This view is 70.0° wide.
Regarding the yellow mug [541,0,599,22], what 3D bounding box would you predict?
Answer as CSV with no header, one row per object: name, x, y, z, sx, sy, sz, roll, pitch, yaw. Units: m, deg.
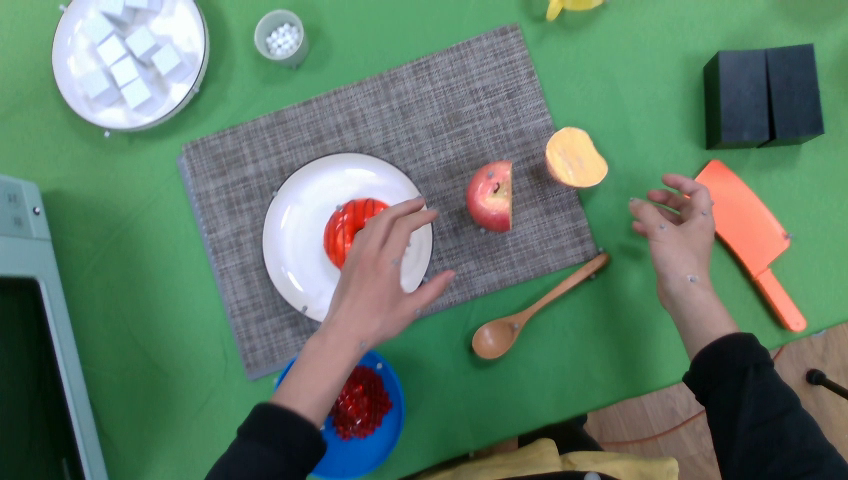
yellow mug,0.171,-0.316,0.707,0.100,0.064,0.131,28,91,7

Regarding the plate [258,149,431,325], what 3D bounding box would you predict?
plate,-0.093,-0.003,0.727,0.209,0.038,0.208,0,87,6

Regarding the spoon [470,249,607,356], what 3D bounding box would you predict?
spoon,0.136,0.071,0.710,0.194,0.022,0.041,-37,68,3

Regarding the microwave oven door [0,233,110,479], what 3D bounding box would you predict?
microwave oven door,-0.453,0.161,0.638,0.039,0.244,0.355,-18,84,5

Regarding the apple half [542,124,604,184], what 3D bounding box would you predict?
apple half,0.165,-0.093,0.704,0.082,0.033,0.080,9,64,-19

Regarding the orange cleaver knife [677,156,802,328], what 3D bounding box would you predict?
orange cleaver knife,0.372,0.001,0.691,0.077,0.012,0.210,-34,83,-2

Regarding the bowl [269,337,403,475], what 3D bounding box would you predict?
bowl,-0.093,0.184,0.700,0.151,0.077,0.151,0,86,6

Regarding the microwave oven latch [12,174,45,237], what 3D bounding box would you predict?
microwave oven latch,-0.503,-0.041,0.758,0.030,0.029,0.079,-16,86,4

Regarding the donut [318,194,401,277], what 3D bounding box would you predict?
donut,-0.076,-0.005,0.714,0.099,0.048,0.099,0,89,6

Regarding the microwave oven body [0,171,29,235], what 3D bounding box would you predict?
microwave oven body,-0.604,0.164,0.659,0.326,0.261,0.440,-17,85,4

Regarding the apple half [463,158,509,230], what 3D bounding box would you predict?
apple half,0.071,-0.052,0.695,0.053,0.075,0.081,0,90,10

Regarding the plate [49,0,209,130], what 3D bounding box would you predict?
plate,-0.371,-0.240,0.775,0.207,0.039,0.207,0,87,6

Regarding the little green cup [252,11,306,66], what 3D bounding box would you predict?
little green cup,-0.178,-0.248,0.754,0.061,0.039,0.061,0,86,7
